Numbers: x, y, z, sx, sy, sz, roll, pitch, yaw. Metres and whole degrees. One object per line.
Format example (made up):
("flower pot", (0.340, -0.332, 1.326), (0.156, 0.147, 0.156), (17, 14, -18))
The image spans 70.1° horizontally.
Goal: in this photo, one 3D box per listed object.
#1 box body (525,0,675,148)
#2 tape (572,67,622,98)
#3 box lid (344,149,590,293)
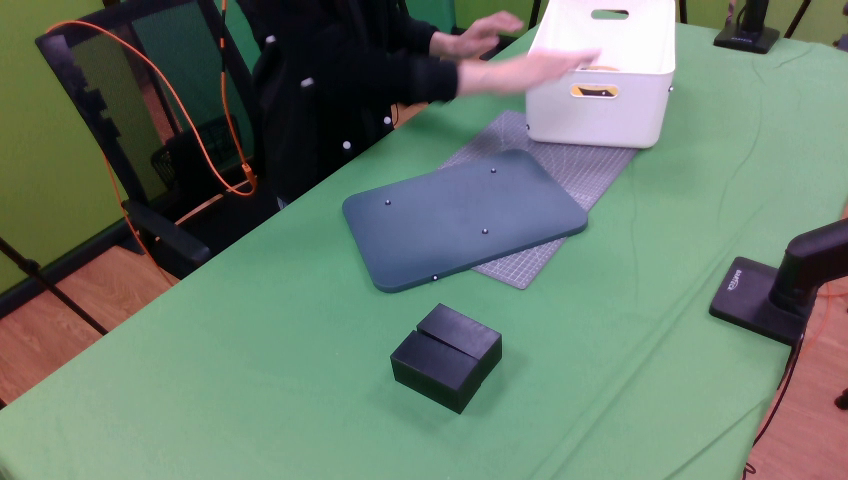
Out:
("box body", (0.356, -0.342, 1.212), (0.253, 0.161, 0.363), (7, 42, 17))
("tape", (0.359, -0.311, 1.251), (0.117, 0.053, 0.116), (-4, 41, 4))
("box lid", (0.062, -0.046, 1.027), (0.373, 0.015, 0.261), (-18, 41, -11))
